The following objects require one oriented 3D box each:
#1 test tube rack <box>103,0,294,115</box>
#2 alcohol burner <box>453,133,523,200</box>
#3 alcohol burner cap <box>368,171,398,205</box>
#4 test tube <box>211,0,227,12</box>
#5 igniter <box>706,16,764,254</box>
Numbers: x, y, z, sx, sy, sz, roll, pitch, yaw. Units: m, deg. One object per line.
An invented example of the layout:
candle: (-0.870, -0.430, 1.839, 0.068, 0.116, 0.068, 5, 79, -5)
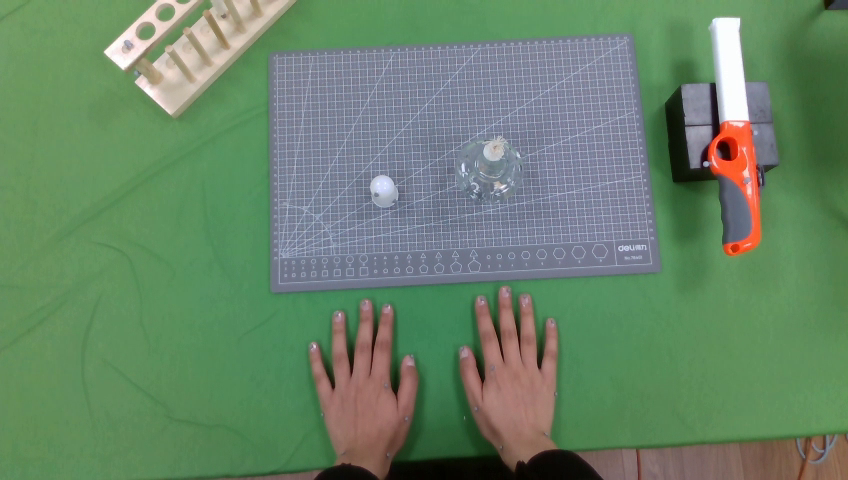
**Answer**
test tube rack: (-0.246, -0.268, 0.714, 0.066, 0.085, 0.242, 42, 82, 8)
alcohol burner: (0.072, -0.086, 0.663, 0.078, 0.119, 0.077, 0, 78, -1)
alcohol burner cap: (-0.048, -0.062, 0.696, 0.034, 0.048, 0.033, -1, 79, 4)
test tube: (-0.248, -0.304, 0.671, 0.017, 0.151, 0.017, 0, 74, 1)
igniter: (0.339, -0.119, 0.667, 0.057, 0.025, 0.275, 1, 78, 3)
